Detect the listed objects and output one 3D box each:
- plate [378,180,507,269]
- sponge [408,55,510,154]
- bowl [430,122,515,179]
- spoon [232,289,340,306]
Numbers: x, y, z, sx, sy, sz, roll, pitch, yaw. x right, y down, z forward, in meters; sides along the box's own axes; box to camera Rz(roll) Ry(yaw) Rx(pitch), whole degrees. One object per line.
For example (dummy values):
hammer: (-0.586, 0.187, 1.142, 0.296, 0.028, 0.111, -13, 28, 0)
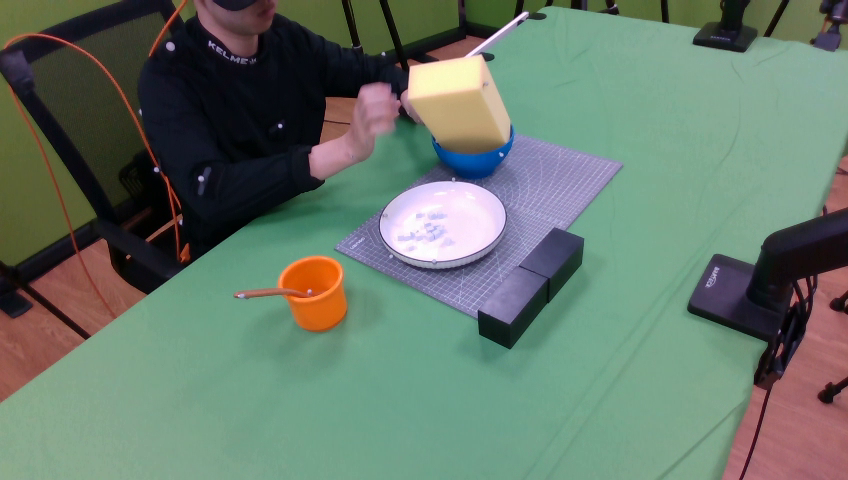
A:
plate: (0.031, -0.022, 0.974, 0.209, 0.038, 0.208, -4, 40, 4)
sponge: (0.065, -0.214, 1.005, 0.118, 0.208, 0.060, -3, 71, 19)
bowl: (0.090, -0.163, 1.098, 0.151, 0.077, 0.150, -4, 41, 4)
spoon: (-0.181, 0.074, 0.811, 0.041, 0.195, 0.021, 16, 90, 31)
